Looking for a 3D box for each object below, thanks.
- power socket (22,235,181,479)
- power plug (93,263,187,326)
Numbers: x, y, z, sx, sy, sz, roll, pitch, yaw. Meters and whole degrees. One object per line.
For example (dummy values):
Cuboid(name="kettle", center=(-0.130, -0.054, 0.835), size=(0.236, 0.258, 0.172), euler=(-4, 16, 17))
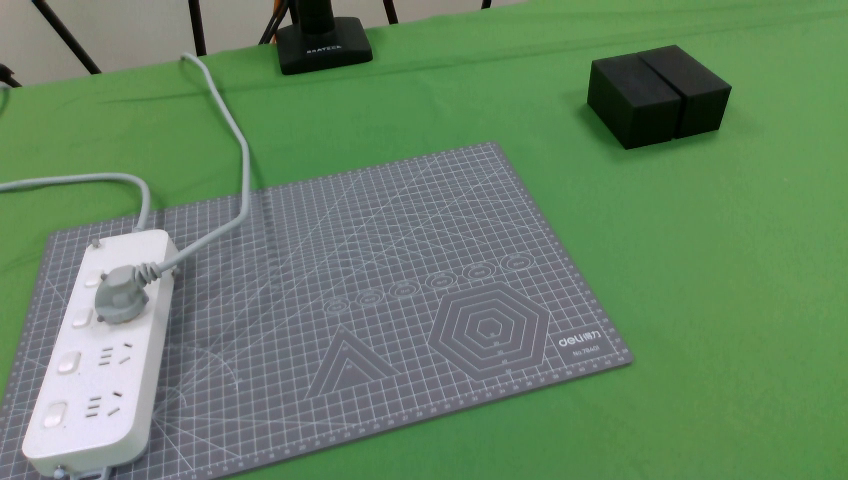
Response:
Cuboid(name="power socket", center=(-0.235, 0.076, 0.460), size=(0.072, 0.033, 0.224), euler=(-8, 43, -6))
Cuboid(name="power plug", center=(-0.210, 0.048, 0.453), size=(0.072, 0.053, 0.035), euler=(-4, 44, 3))
